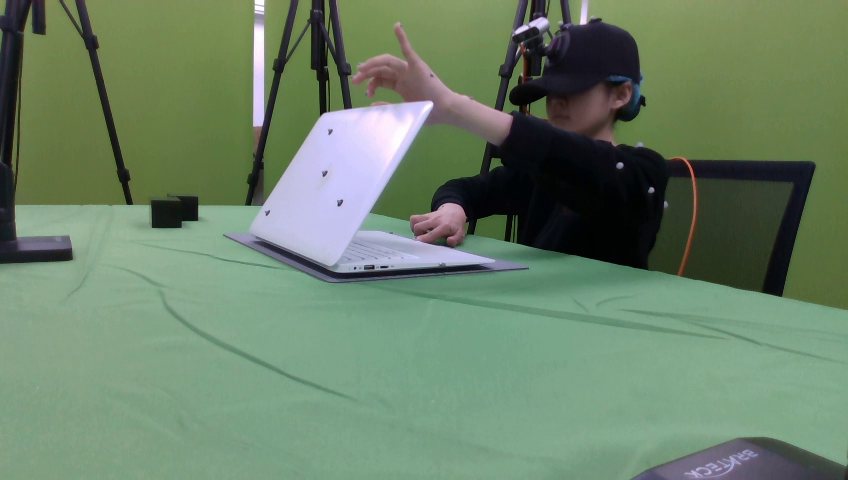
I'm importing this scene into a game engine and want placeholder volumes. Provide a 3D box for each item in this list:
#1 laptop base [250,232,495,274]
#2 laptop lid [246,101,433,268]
[{"bbox_3d":[-0.093,0.015,0.883,0.237,0.023,0.352,3,6,-33],"label":"laptop base"},{"bbox_3d":[-0.137,-0.090,0.839,0.013,0.241,0.355,36,-10,-31],"label":"laptop lid"}]
